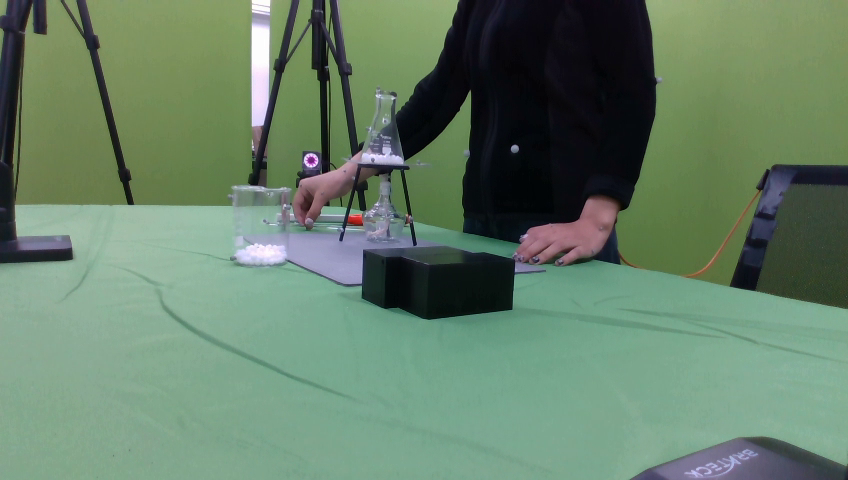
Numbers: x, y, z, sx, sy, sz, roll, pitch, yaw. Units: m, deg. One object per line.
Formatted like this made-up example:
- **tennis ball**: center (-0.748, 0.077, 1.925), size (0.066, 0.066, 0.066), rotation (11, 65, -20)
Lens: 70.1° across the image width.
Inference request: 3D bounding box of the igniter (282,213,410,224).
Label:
- **igniter**: center (-0.159, -0.046, 1.286), size (0.278, 0.025, 0.057), rotation (-1, -2, -22)

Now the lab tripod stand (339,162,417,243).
- **lab tripod stand**: center (-0.067, -0.065, 1.027), size (0.148, 0.131, 0.148), rotation (4, 7, 0)

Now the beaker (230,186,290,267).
- **beaker**: center (-0.209, -0.019, 0.778), size (0.074, 0.100, 0.084), rotation (3, 6, 4)

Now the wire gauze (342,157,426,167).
- **wire gauze**: center (-0.065, -0.130, 1.017), size (0.122, 0.011, 0.124), rotation (2, 5, -27)

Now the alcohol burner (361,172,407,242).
- **alcohol burner**: center (-0.067, -0.056, 1.030), size (0.078, 0.119, 0.078), rotation (4, 9, 0)

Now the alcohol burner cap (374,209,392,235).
- **alcohol burner cap**: center (-0.077, -0.035, 1.148), size (0.034, 0.048, 0.034), rotation (3, 8, 0)

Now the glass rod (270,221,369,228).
- **glass rod**: center (-0.197, -0.029, 1.164), size (0.201, 0.008, 0.008), rotation (2, 6, -31)

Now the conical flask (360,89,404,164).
- **conical flask**: center (-0.067, -0.189, 1.010), size (0.075, 0.122, 0.075), rotation (4, 6, 0)
